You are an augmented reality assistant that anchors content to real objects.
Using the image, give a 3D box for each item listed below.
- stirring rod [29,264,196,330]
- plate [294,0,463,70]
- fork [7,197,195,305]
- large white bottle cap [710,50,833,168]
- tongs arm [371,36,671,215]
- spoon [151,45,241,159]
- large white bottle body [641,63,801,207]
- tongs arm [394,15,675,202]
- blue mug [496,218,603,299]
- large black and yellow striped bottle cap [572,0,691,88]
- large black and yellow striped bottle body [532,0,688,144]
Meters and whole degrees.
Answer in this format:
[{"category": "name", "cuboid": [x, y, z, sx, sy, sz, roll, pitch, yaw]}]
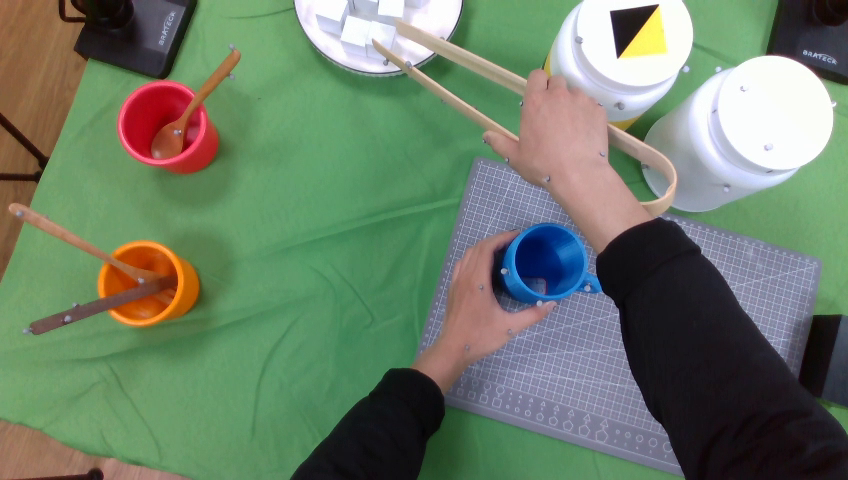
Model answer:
[{"category": "stirring rod", "cuboid": [-0.325, 0.058, 0.647, 0.176, 0.006, 0.014, -24, 87, -47]}, {"category": "plate", "cuboid": [-0.055, -0.307, 0.750, 0.208, 0.039, 0.207, 0, 84, -2]}, {"category": "fork", "cuboid": [-0.336, 0.015, 0.645, 0.209, 0.018, 0.028, 41, 79, -40]}, {"category": "large white bottle cap", "cuboid": [0.336, -0.127, 0.586, 0.115, 0.018, 0.114, 0, 83, -3]}, {"category": "tongs arm", "cuboid": [0.078, -0.134, 0.621, 0.051, 0.027, 0.381, -42, 59, -9]}, {"category": "spoon", "cuboid": [-0.255, -0.150, 0.671, 0.194, 0.022, 0.041, -34, 79, 38]}, {"category": "large white bottle body", "cuboid": [0.333, -0.115, 0.670, 0.131, 0.185, 0.130, 0, 83, -2]}, {"category": "tongs arm", "cuboid": [0.096, -0.153, 0.626, 0.028, 0.028, 0.384, -43, 60, -14]}, {"category": "blue mug", "cuboid": [0.144, 0.030, 0.683, 0.116, 0.106, 0.082, 22, 83, 1]}, {"category": "large black and yellow striped bottle cap", "cuboid": [0.202, -0.206, 0.591, 0.115, 0.019, 0.114, 0, 85, -3]}, {"category": "large black and yellow striped bottle body", "cuboid": [0.200, -0.194, 0.673, 0.131, 0.184, 0.130, 0, 83, -2]}]
